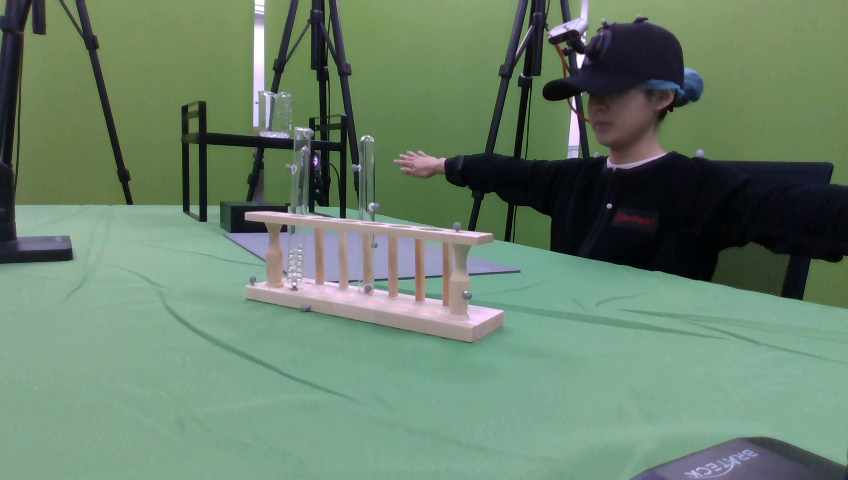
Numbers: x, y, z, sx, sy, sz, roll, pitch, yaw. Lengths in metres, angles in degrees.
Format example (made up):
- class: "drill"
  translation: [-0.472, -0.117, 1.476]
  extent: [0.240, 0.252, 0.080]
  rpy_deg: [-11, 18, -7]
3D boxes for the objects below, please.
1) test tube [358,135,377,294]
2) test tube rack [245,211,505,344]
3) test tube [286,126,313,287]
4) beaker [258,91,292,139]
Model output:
- class: "test tube"
  translation: [-0.053, -0.022, 0.565]
  extent: [0.017, 0.150, 0.017]
  rpy_deg: [2, 6, 0]
- class: "test tube rack"
  translation: [-0.049, 0.025, 0.547]
  extent: [0.241, 0.085, 0.067]
  rpy_deg: [7, 8, 28]
- class: "test tube"
  translation: [-0.116, -0.030, 0.559]
  extent: [0.017, 0.150, 0.017]
  rpy_deg: [6, 11, -1]
- class: "beaker"
  translation: [-0.331, -0.276, 1.343]
  extent: [0.074, 0.100, 0.083]
  rpy_deg: [0, 8, -20]
